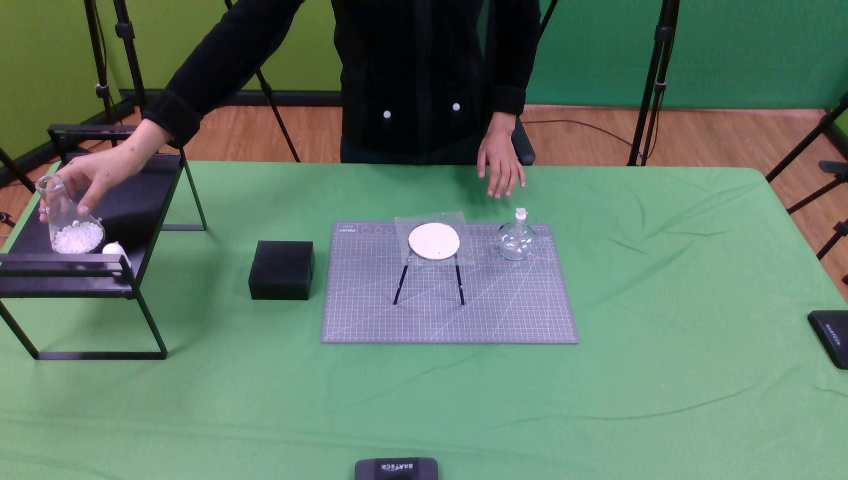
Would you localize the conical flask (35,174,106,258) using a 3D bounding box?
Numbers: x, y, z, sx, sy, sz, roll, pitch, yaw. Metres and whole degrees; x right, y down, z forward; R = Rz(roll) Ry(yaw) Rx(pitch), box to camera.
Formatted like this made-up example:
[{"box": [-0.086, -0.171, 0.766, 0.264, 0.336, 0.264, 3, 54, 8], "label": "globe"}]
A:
[{"box": [-0.517, -0.038, 0.875, 0.075, 0.122, 0.075, 2, 46, -1], "label": "conical flask"}]

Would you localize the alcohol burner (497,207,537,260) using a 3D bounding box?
[{"box": [0.180, -0.019, 1.163, 0.078, 0.120, 0.077, 1, 48, -1], "label": "alcohol burner"}]

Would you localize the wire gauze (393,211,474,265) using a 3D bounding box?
[{"box": [0.015, -0.003, 1.028, 0.125, 0.011, 0.120, -4, 47, -7], "label": "wire gauze"}]

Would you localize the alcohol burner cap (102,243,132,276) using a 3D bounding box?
[{"box": [-0.446, 0.025, 0.875, 0.034, 0.048, 0.033, 3, 45, -2], "label": "alcohol burner cap"}]

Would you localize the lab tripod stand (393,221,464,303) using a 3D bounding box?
[{"box": [0.010, 0.045, 1.074, 0.148, 0.132, 0.147, 2, 48, -2], "label": "lab tripod stand"}]
